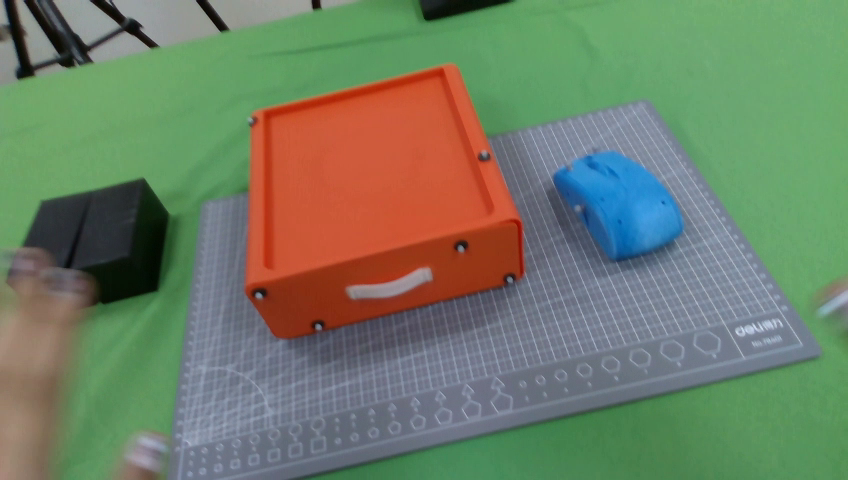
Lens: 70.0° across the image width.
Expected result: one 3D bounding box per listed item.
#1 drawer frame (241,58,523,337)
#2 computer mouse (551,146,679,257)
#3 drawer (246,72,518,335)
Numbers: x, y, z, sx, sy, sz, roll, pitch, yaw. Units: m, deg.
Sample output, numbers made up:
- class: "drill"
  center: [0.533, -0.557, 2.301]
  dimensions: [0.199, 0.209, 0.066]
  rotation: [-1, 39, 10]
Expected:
- class: "drawer frame"
  center: [-0.044, -0.044, 0.510]
  dimensions: [0.202, 0.083, 0.211]
  rotation: [-15, 48, 0]
- class: "computer mouse"
  center: [0.152, -0.039, 0.495]
  dimensions: [0.063, 0.041, 0.116]
  rotation: [-21, 45, -3]
- class: "drawer"
  center: [-0.043, -0.041, 0.510]
  dimensions: [0.194, 0.074, 0.209]
  rotation: [-15, 48, 1]
